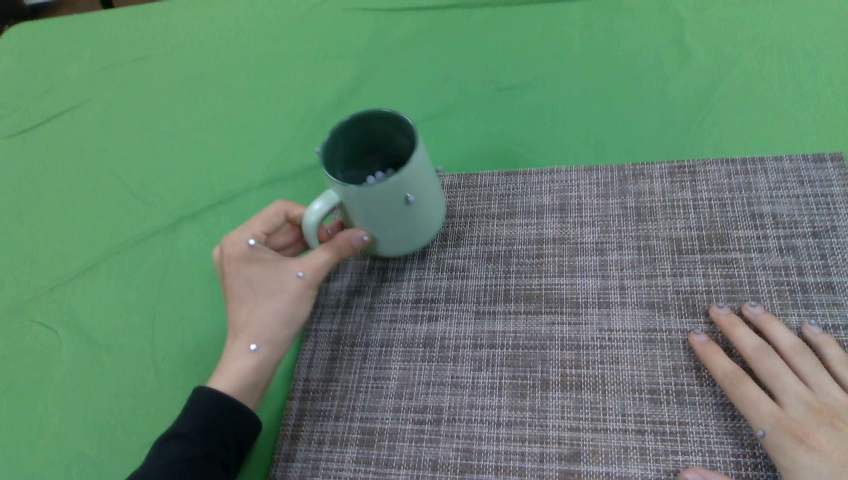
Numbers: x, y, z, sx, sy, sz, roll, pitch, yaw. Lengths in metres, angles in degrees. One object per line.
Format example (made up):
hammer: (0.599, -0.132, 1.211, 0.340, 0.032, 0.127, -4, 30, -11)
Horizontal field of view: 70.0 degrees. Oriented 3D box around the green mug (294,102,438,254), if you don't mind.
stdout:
green mug: (-0.052, -0.038, 0.498, 0.125, 0.106, 0.091, -43, 61, -14)
